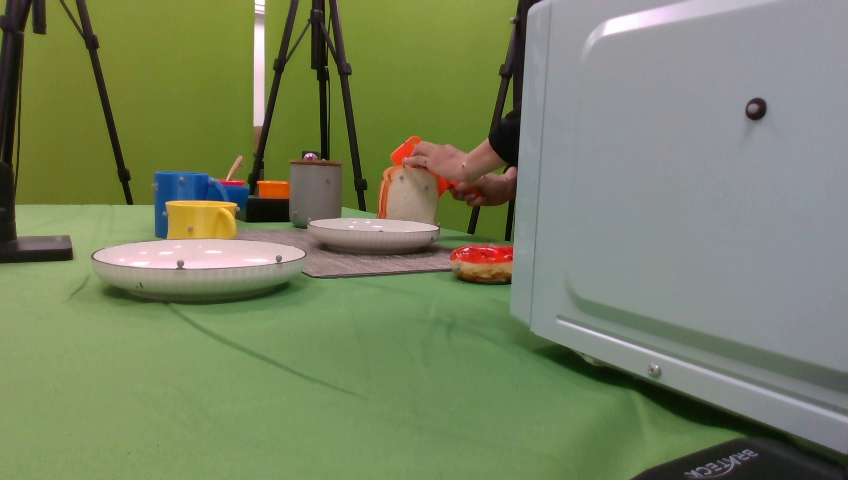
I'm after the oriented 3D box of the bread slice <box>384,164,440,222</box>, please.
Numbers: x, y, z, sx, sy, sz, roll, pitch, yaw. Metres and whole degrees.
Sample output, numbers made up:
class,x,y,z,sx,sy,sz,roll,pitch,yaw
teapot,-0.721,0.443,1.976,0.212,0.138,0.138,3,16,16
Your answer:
class,x,y,z,sx,sy,sz,roll,pitch,yaw
bread slice,-0.024,-0.073,1.115,0.107,0.134,0.018,0,9,-19

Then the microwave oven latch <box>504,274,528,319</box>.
class,x,y,z,sx,sy,sz,roll,pitch,yaw
microwave oven latch,0.100,0.041,0.470,0.079,0.029,0.030,-1,7,-27

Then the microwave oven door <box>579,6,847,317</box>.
class,x,y,z,sx,sy,sz,roll,pitch,yaw
microwave oven door,0.294,-0.067,0.570,0.358,0.243,0.039,-3,9,-31

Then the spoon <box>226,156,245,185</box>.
class,x,y,z,sx,sy,sz,roll,pitch,yaw
spoon,-0.477,-0.145,1.492,0.041,0.022,0.193,0,51,12

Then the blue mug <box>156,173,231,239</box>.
class,x,y,z,sx,sy,sz,roll,pitch,yaw
blue mug,-0.381,-0.057,1.004,0.117,0.106,0.082,1,8,-12

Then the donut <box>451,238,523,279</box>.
class,x,y,z,sx,sy,sz,roll,pitch,yaw
donut,0.083,0.022,0.745,0.099,0.048,0.099,1,5,0

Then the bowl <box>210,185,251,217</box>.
class,x,y,z,sx,sy,sz,roll,pitch,yaw
bowl,-0.408,-0.064,1.155,0.151,0.077,0.151,2,8,0

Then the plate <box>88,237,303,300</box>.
class,x,y,z,sx,sy,sz,roll,pitch,yaw
plate,-0.233,0.029,0.637,0.208,0.039,0.207,2,7,0

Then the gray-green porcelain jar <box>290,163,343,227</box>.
class,x,y,z,sx,sy,sz,roll,pitch,yaw
gray-green porcelain jar,-0.217,-0.091,1.221,0.106,0.126,0.106,2,7,0

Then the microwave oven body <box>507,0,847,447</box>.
class,x,y,z,sx,sy,sz,roll,pitch,yaw
microwave oven body,0.331,-0.042,0.425,0.444,0.260,0.324,-2,8,-31

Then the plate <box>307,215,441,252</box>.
class,x,y,z,sx,sy,sz,roll,pitch,yaw
plate,-0.078,-0.012,0.954,0.209,0.038,0.209,2,8,0

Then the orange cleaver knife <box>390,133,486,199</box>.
class,x,y,z,sx,sy,sz,roll,pitch,yaw
orange cleaver knife,0.030,-0.126,1.175,0.212,0.077,0.012,34,-4,-22

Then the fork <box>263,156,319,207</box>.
class,x,y,z,sx,sy,sz,roll,pitch,yaw
fork,-0.331,-0.144,1.505,0.207,0.018,0.028,-42,-20,22

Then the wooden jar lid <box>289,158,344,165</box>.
class,x,y,z,sx,sy,sz,roll,pitch,yaw
wooden jar lid,-0.215,-0.153,1.212,0.108,0.020,0.108,2,5,0

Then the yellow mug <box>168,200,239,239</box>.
class,x,y,z,sx,sy,sz,roll,pitch,yaw
yellow mug,-0.320,-0.023,0.904,0.130,0.064,0.100,9,11,36

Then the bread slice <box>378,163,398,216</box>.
class,x,y,z,sx,sy,sz,roll,pitch,yaw
bread slice,-0.037,-0.082,1.164,0.105,0.131,0.019,4,0,-22
